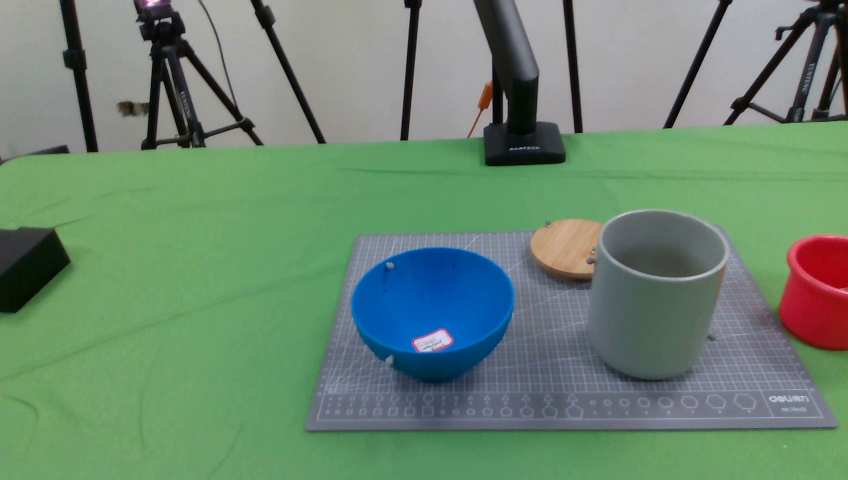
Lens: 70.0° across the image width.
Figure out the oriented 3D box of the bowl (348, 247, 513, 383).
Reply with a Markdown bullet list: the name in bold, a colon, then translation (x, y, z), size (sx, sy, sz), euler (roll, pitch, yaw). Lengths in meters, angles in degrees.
- **bowl**: translation (0.008, 0.081, 0.572), size (0.151, 0.077, 0.150), euler (-3, 35, 2)

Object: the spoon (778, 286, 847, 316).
- **spoon**: translation (0.414, 0.036, 0.536), size (0.041, 0.193, 0.021), euler (-38, 92, -40)

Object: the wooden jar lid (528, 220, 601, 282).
- **wooden jar lid**: translation (0.175, 0.013, 0.700), size (0.108, 0.021, 0.107), euler (-3, 34, 3)

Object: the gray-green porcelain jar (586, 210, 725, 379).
- **gray-green porcelain jar**: translation (0.202, 0.053, 0.547), size (0.106, 0.127, 0.105), euler (-3, 35, 3)
